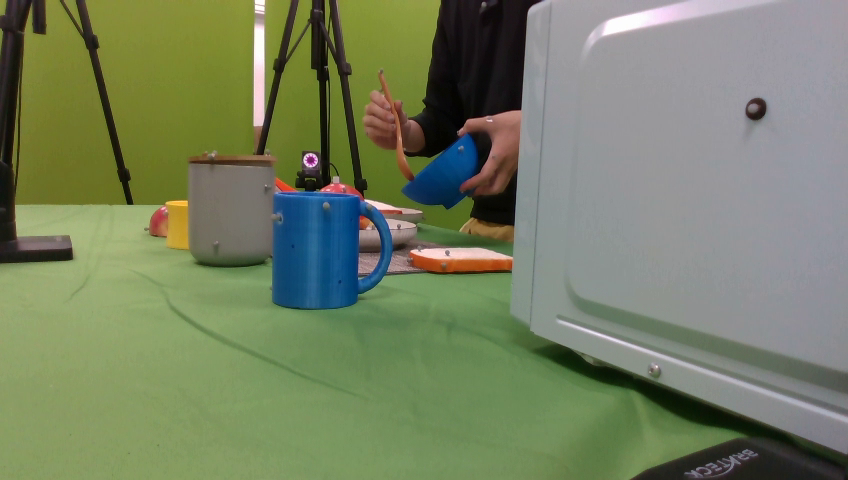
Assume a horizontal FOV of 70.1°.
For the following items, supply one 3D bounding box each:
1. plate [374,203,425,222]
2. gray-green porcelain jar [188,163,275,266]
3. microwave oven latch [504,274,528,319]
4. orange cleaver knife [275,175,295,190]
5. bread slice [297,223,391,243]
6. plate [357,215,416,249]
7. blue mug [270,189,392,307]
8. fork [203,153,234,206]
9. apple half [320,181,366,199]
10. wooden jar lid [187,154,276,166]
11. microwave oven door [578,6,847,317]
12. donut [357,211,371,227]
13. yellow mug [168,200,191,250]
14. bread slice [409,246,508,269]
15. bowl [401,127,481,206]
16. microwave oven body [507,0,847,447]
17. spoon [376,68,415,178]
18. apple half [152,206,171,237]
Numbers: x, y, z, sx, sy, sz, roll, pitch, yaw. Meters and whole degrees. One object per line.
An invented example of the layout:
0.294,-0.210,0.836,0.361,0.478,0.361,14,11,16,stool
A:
-0.102,-0.053,1.299,0.209,0.038,0.209,2,8,0,plate
-0.246,-0.034,0.779,0.106,0.126,0.106,1,7,0,gray-green porcelain jar
0.100,0.041,0.470,0.079,0.029,0.030,-1,7,-27,microwave oven latch
-0.283,-0.087,1.343,0.212,0.077,0.012,24,-16,-41,orange cleaver knife
-0.121,-0.013,0.971,0.106,0.018,0.135,9,11,41,bread slice
-0.116,-0.014,0.967,0.208,0.039,0.207,2,7,0,plate
-0.090,0.005,0.588,0.117,0.106,0.082,1,7,-11,blue mug
-0.480,-0.135,1.411,0.028,0.018,0.207,1,-34,-1,fork
-0.130,-0.077,0.952,0.081,0.033,0.081,3,15,0,apple half
-0.244,-0.097,0.771,0.108,0.020,0.108,-1,7,0,wooden jar lid
0.294,-0.067,0.570,0.358,0.243,0.039,-3,9,-31,microwave oven door
-0.132,-0.041,0.959,0.099,0.048,0.099,3,8,0,donut
-0.320,-0.023,0.904,0.130,0.064,0.100,8,10,36,yellow mug
0.047,0.022,0.816,0.132,0.019,0.104,0,7,-24,bread slice
0.042,-0.109,1.001,0.151,0.077,0.151,-41,6,6,bowl
0.331,-0.042,0.425,0.444,0.260,0.324,-2,8,-31,microwave oven body
-0.047,-0.194,1.005,0.022,0.193,0.041,-13,-4,-11,spoon
-0.415,-0.034,1.017,0.081,0.053,0.074,1,10,-9,apple half
